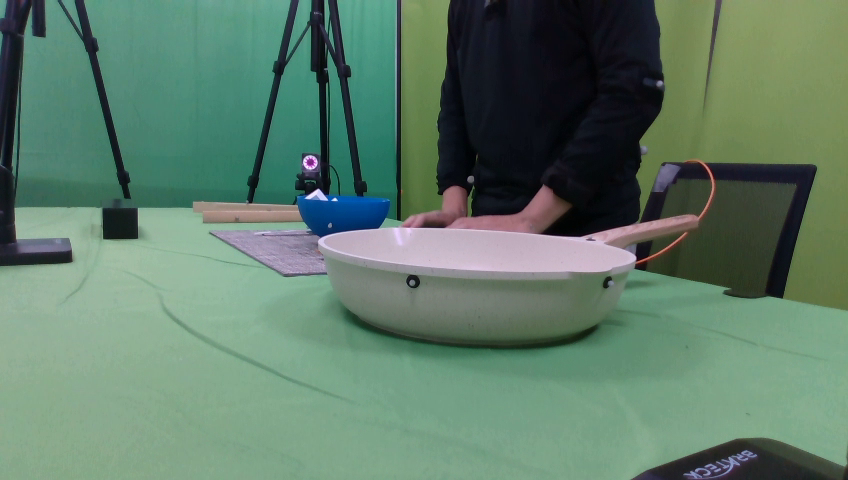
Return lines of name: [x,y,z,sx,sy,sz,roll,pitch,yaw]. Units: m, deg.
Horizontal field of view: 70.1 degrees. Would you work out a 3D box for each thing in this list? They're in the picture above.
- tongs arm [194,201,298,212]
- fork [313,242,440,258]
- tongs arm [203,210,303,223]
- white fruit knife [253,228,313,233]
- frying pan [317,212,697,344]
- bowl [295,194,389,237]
tongs arm: [-0.335,-0.072,1.424,0.387,0.026,0.050,0,9,-24]
fork: [-0.063,0.013,0.878,0.208,0.018,0.028,-5,1,-34]
tongs arm: [-0.298,-0.056,1.354,0.390,0.028,0.028,-3,7,-36]
white fruit knife: [-0.206,-0.019,1.102,0.208,0.016,0.027,-3,-3,-28]
frying pan: [0.133,0.013,0.629,0.490,0.102,0.305,-12,14,-31]
bowl: [-0.132,-0.032,0.980,0.151,0.077,0.151,2,7,0]
